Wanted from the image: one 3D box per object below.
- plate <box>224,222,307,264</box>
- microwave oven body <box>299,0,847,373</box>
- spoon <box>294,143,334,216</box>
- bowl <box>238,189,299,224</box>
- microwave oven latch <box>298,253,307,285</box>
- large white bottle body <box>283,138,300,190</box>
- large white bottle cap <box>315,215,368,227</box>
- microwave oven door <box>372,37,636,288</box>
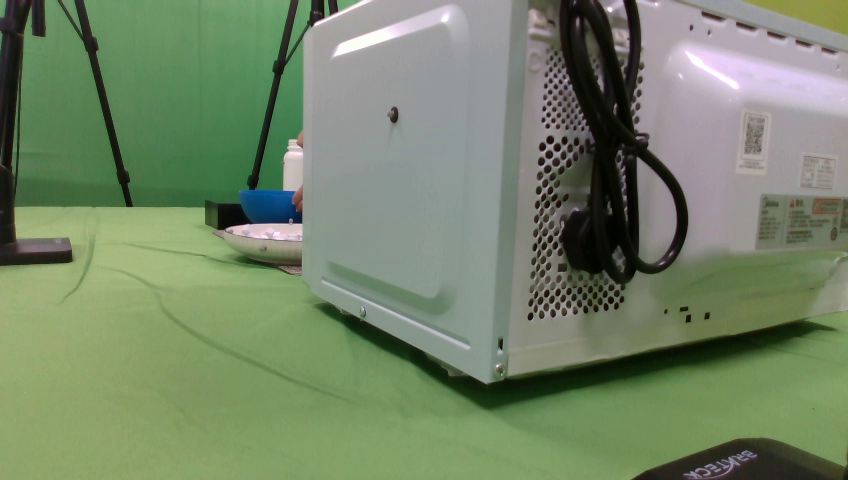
[{"bbox_3d":[-0.171,0.004,0.849,0.209,0.038,0.209,2,7,0],"label":"plate"},{"bbox_3d":[0.151,-0.055,0.542,0.444,0.260,0.324,-2,7,-33],"label":"microwave oven body"},{"bbox_3d":[-0.199,-0.116,1.115,0.021,0.042,0.193,2,46,21],"label":"spoon"},{"bbox_3d":[-0.245,-0.046,1.053,0.151,0.077,0.151,3,8,0],"label":"bowl"},{"bbox_3d":[-0.081,0.027,0.582,0.079,0.029,0.030,-1,7,-32],"label":"microwave oven latch"},{"bbox_3d":[-0.265,-0.144,1.424,0.131,0.184,0.130,2,7,0],"label":"large white bottle body"},{"bbox_3d":[-0.178,-0.041,1.309,0.115,0.018,0.115,2,6,0],"label":"large white bottle cap"},{"bbox_3d":[0.110,-0.080,0.686,0.358,0.243,0.039,-2,9,-33],"label":"microwave oven door"}]
